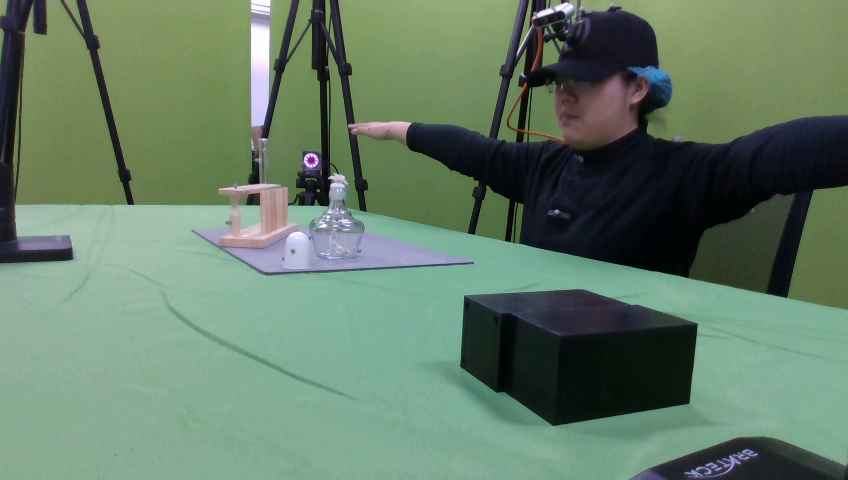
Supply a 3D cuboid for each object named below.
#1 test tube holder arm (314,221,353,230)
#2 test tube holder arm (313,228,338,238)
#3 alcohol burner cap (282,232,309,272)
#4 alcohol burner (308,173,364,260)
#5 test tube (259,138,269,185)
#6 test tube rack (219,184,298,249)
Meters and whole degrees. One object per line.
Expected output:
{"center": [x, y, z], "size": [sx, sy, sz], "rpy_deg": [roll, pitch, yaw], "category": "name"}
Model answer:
{"center": [-0.167, -0.027, 1.137], "size": [0.015, 0.013, 0.179], "rpy_deg": [10, 7, 11], "category": "test tube holder arm"}
{"center": [-0.177, -0.016, 1.094], "size": [0.015, 0.010, 0.088], "rpy_deg": [9, 13, 11], "category": "test tube holder arm"}
{"center": [-0.157, 0.014, 0.740], "size": [0.034, 0.048, 0.034], "rpy_deg": [2, 6, 0], "category": "alcohol burner cap"}
{"center": [-0.121, -0.033, 0.841], "size": [0.078, 0.119, 0.078], "rpy_deg": [3, 5, 0], "category": "alcohol burner"}
{"center": [-0.281, -0.104, 1.064], "size": [0.017, 0.150, 0.017], "rpy_deg": [2, 12, 0], "category": "test tube"}
{"center": [-0.266, -0.046, 1.002], "size": [0.067, 0.085, 0.242], "rpy_deg": [3, 7, 0], "category": "test tube rack"}
